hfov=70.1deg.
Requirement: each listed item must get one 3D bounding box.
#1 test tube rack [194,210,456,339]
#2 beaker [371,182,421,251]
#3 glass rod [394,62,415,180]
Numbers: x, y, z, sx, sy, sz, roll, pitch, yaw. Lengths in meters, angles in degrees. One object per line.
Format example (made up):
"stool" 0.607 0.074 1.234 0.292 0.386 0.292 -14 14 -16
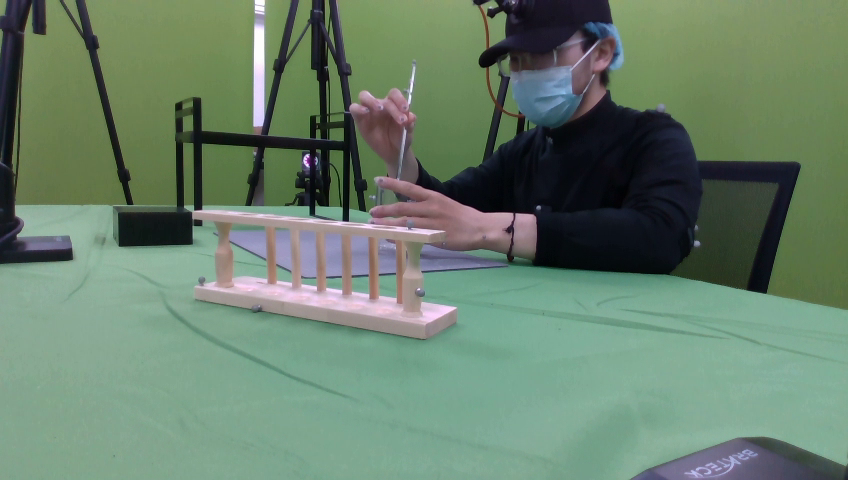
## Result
"test tube rack" -0.093 0.023 0.546 0.241 0.085 0.067 6 8 25
"beaker" -0.043 -0.034 0.910 0.074 0.100 0.083 4 1 -22
"glass rod" -0.030 -0.186 0.932 0.008 0.199 0.008 7 -14 2
